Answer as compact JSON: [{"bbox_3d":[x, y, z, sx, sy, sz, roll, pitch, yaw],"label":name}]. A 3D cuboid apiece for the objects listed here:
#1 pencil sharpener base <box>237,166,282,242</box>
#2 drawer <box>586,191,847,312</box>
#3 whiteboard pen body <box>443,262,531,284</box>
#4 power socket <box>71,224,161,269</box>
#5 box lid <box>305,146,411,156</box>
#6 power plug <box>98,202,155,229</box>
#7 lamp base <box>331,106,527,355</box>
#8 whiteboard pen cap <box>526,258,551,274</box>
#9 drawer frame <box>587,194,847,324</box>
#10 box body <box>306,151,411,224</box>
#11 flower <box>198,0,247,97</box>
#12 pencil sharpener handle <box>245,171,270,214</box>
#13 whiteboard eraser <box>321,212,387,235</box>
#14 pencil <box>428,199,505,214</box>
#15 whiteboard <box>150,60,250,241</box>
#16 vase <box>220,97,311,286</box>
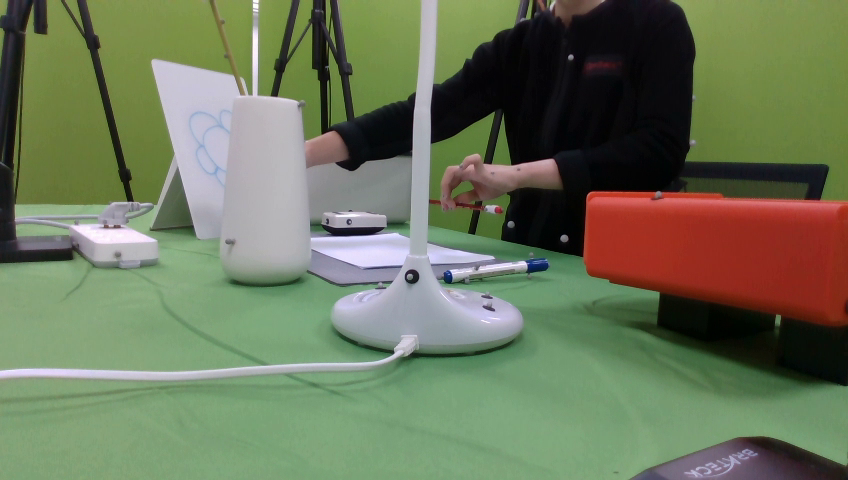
[{"bbox_3d":[-0.243,-0.055,0.889,0.061,0.107,0.076,0,8,-18],"label":"pencil sharpener base"},{"bbox_3d":[0.281,0.001,0.513,0.195,0.073,0.210,-1,8,-29],"label":"drawer"},{"bbox_3d":[0.088,0.038,0.733,0.141,0.017,0.017,-5,10,-27],"label":"whiteboard pen body"},{"bbox_3d":[-0.408,0.004,0.793,0.072,0.032,0.225,-2,8,-38],"label":"power socket"},{"bbox_3d":[-0.229,-0.200,1.360,0.373,0.015,0.262,-3,9,-33],"label":"box lid"},{"bbox_3d":[-0.416,-0.027,0.848,0.073,0.052,0.035,0,8,-28],"label":"power plug"},{"bbox_3d":[0.006,-0.012,0.478,0.161,0.180,0.179,2,10,2],"label":"lamp base"},{"bbox_3d":[0.141,0.033,0.759,0.033,0.018,0.018,-7,11,-26],"label":"whiteboard pen cap"},{"bbox_3d":[0.286,0.004,0.508,0.203,0.082,0.212,-1,6,-30],"label":"drawer frame"},{"bbox_3d":[-0.230,-0.126,1.371,0.366,0.160,0.253,-2,8,-33],"label":"box body"},{"bbox_3d":[-0.187,-0.133,0.648,0.038,0.362,0.044,-1,22,43],"label":"flower"},{"bbox_3d":[-0.258,-0.074,0.936,0.036,0.067,0.030,-3,9,-18],"label":"pencil sharpener handle"},{"bbox_3d":[-0.128,-0.031,1.108,0.113,0.042,0.055,-3,7,-38],"label":"whiteboard eraser"},{"bbox_3d":[0.050,-0.054,0.925,0.012,0.012,0.193,-4,10,-39],"label":"pencil"},{"bbox_3d":[-0.408,-0.139,1.093,0.143,0.305,0.218,-15,-1,26],"label":"whiteboard"},{"bbox_3d":[-0.172,-0.052,0.662,0.098,0.200,0.098,3,8,0],"label":"vase"}]
